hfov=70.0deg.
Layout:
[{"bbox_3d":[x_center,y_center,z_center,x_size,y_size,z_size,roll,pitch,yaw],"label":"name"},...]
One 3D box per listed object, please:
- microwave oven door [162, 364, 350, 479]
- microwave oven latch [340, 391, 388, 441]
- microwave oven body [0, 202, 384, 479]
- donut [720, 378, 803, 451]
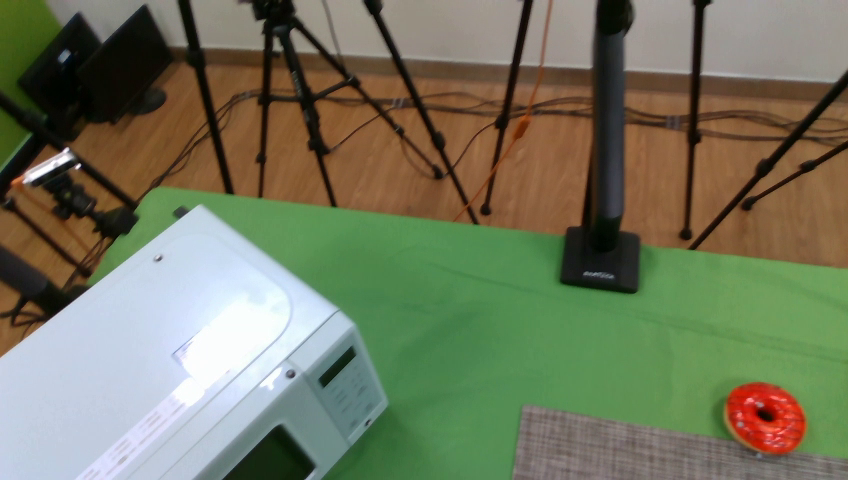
[{"bbox_3d":[-0.243,0.317,0.672,0.039,0.246,0.355,32,64,28],"label":"microwave oven door"},{"bbox_3d":[-0.085,0.238,0.838,0.030,0.030,0.079,35,66,28],"label":"microwave oven latch"},{"bbox_3d":[-0.323,0.224,0.759,0.323,0.263,0.441,33,65,27],"label":"microwave oven body"},{"bbox_3d":[0.439,0.227,0.791,0.099,0.049,0.098,-6,49,7],"label":"donut"}]
